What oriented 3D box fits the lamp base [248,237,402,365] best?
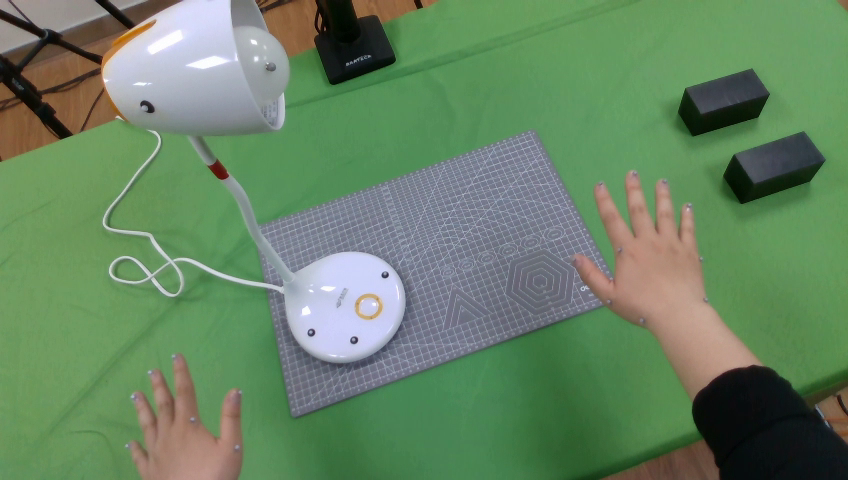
[{"bbox_3d":[-0.133,0.053,0.748,0.178,0.182,0.159,3,63,14],"label":"lamp base"}]

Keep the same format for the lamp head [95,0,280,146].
[{"bbox_3d":[-0.185,-0.125,0.477,0.123,0.113,0.111,-15,61,8],"label":"lamp head"}]
